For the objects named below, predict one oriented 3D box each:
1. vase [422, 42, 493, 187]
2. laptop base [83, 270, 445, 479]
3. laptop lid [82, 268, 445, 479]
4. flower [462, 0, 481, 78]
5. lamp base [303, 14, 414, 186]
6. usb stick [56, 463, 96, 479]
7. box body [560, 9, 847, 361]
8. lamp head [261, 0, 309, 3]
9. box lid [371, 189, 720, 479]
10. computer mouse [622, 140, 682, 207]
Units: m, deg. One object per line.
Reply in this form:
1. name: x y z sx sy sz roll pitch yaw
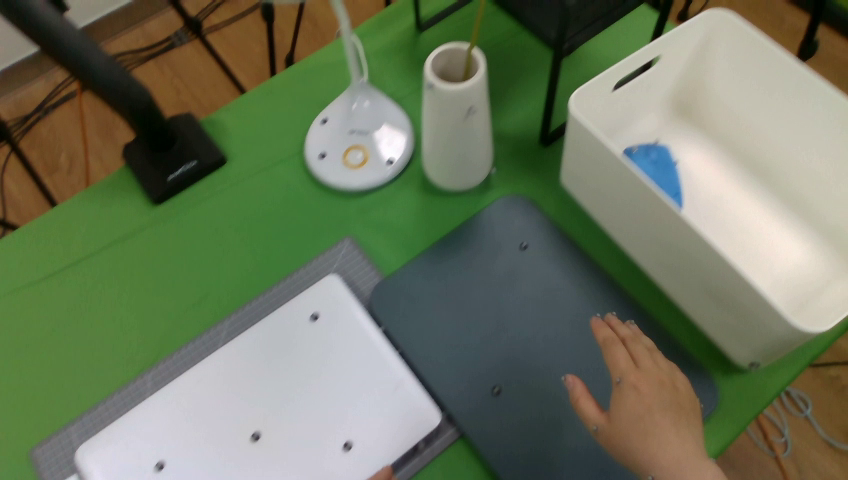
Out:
1. vase: 0.039 -0.153 0.771 0.098 0.202 0.097 -3 61 5
2. laptop base: -0.182 0.214 0.694 0.354 0.023 0.233 -35 68 -14
3. laptop lid: -0.181 0.211 0.683 0.357 0.013 0.239 -34 67 -13
4. flower: 0.050 -0.203 0.704 0.038 0.364 0.043 -19 52 -25
5. lamp base: -0.100 -0.193 0.813 0.160 0.182 0.177 -5 59 2
6. usb stick: -0.381 0.264 0.667 0.059 0.027 0.021 -31 64 -18
7. box body: 0.367 -0.068 0.724 0.254 0.162 0.361 -33 65 -12
8. lamp head: -0.124 -0.283 0.523 0.112 0.113 0.122 -8 79 0
9. box lid: 0.134 0.115 0.728 0.263 0.015 0.368 -36 66 -15
10. computer mouse: 0.301 -0.088 0.802 0.063 0.041 0.116 -2 58 7
